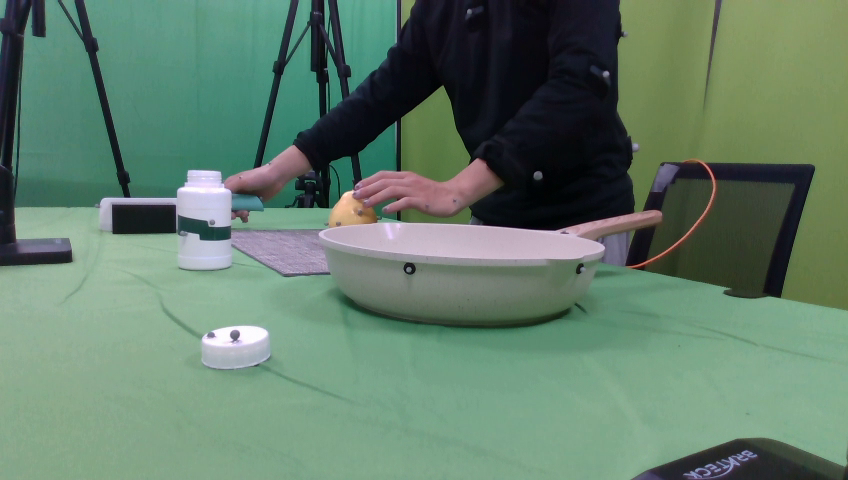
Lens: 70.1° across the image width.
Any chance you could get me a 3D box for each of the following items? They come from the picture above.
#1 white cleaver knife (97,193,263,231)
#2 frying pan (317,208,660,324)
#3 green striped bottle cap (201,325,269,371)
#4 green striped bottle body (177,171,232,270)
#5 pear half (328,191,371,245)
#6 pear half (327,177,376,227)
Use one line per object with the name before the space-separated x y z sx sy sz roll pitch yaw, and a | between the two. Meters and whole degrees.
white cleaver knife | -0.444 -0.053 1.121 0.288 0.066 0.021 -4 16 -27
frying pan | 0.121 0.006 0.691 0.490 0.102 0.305 -13 15 -33
green striped bottle cap | -0.129 0.073 0.415 0.044 0.020 0.044 3 8 0
green striped bottle body | -0.273 -0.026 0.752 0.063 0.119 0.063 2 7 0
pear half | -0.123 -0.037 0.975 0.071 0.088 0.031 -6 11 -25
pear half | -0.109 -0.042 0.942 0.077 0.110 0.055 -6 11 -26
